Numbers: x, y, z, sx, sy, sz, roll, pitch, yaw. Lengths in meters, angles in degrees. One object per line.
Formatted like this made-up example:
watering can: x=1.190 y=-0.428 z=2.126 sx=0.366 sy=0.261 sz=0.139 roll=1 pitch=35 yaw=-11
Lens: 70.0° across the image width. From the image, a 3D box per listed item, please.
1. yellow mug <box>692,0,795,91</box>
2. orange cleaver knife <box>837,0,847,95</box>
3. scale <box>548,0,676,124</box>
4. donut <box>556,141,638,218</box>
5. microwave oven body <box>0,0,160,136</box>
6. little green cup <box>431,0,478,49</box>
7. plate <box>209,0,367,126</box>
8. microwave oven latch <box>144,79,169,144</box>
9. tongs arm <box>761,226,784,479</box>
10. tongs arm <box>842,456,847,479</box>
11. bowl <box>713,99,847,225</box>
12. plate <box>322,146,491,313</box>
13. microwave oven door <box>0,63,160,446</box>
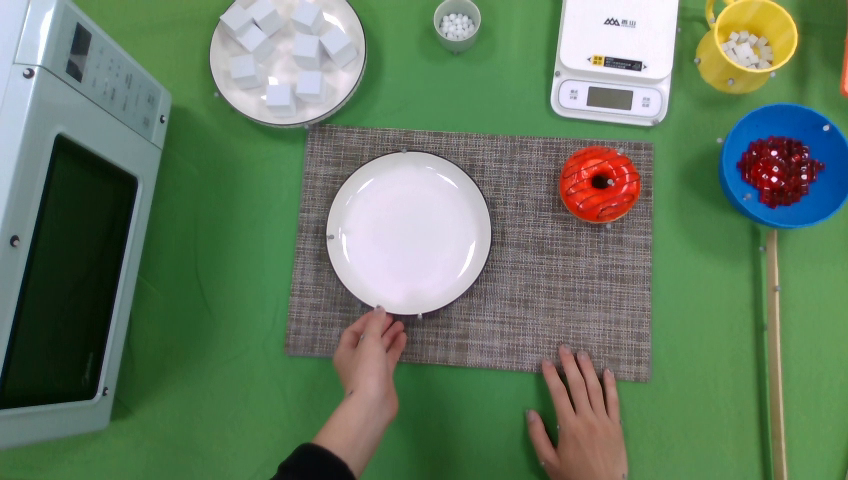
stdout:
yellow mug: x=0.394 y=-0.262 z=0.768 sx=0.100 sy=0.064 sz=0.130 roll=-28 pitch=79 yaw=-2
orange cleaver knife: x=0.534 y=-0.272 z=0.726 sx=0.077 sy=0.012 sz=0.210 roll=8 pitch=81 yaw=6
scale: x=0.246 y=-0.257 z=0.792 sx=0.148 sy=0.031 sz=0.200 roll=8 pitch=81 yaw=5
donut: x=0.213 y=-0.075 z=0.752 sx=0.099 sy=0.048 sz=0.098 roll=-1 pitch=81 yaw=5
microwave oven body: x=-0.525 y=-0.027 z=0.668 sx=0.326 sy=0.261 sz=0.440 roll=6 pitch=81 yaw=3
little green cup: x=0.041 y=-0.286 z=0.803 sx=0.061 sy=0.039 sz=0.061 roll=0 pitch=80 yaw=3
plate: x=-0.177 y=-0.247 z=0.806 sx=0.207 sy=0.039 sz=0.207 roll=0 pitch=80 yaw=3
microwave oven latch: x=-0.352 y=-0.167 z=0.782 sx=0.030 sy=0.029 sz=0.079 roll=7 pitch=81 yaw=3
tongs arm: x=0.426 y=0.175 z=0.710 sx=0.051 sy=0.026 sz=0.383 roll=4 pitch=82 yaw=-2
tongs arm: x=0.511 y=0.189 z=0.709 sx=0.028 sy=0.028 sz=0.386 roll=19 pitch=82 yaw=-3
bowl: x=0.416 y=-0.085 z=0.732 sx=0.151 sy=0.077 sz=0.151 roll=0 pitch=81 yaw=3
plate: x=-0.021 y=-0.012 z=0.755 sx=0.209 sy=0.038 sz=0.208 roll=0 pitch=80 yaw=3
microwave oven door: x=-0.386 y=0.029 z=0.647 sx=0.039 sy=0.245 sz=0.354 roll=6 pitch=80 yaw=4
